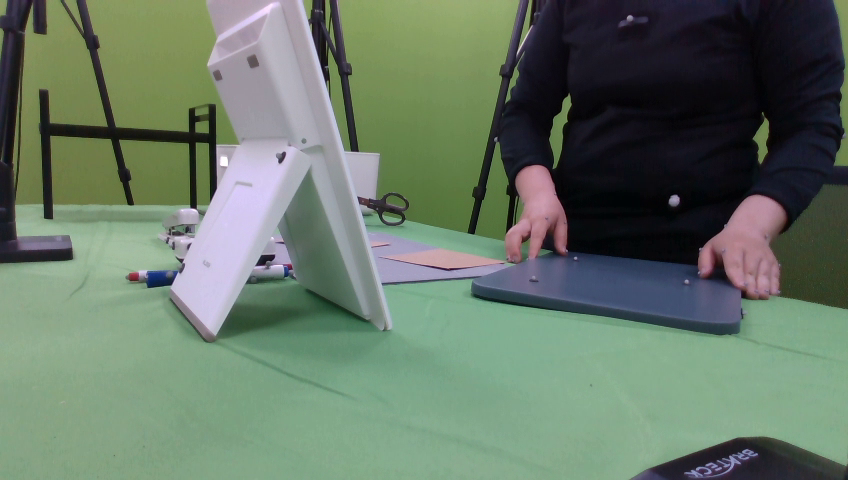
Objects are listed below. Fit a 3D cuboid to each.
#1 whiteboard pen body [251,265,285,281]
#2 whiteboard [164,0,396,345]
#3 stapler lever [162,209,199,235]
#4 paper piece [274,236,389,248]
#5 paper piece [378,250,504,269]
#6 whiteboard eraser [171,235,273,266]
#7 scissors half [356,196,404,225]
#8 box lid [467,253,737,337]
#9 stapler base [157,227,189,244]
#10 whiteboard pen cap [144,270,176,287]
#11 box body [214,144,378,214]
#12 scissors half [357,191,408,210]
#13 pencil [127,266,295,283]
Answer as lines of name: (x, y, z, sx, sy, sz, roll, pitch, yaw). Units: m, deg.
whiteboard pen body: (-0.220, 0.039, 0.656, 0.141, 0.017, 0.017, -2, 9, -31)
whiteboard: (-0.173, -0.053, 0.511, 0.144, 0.305, 0.216, -23, 19, -26)
stapler lever: (-0.376, -0.031, 0.933, 0.027, 0.040, 0.117, 0, 7, -38)
paper piece: (-0.151, 0.003, 0.978, 0.135, 0.008, 0.139, 13, 10, 35)
paper piece: (0.025, 0.027, 0.865, 0.134, 0.004, 0.136, 9, 9, 43)
whiteboard eraser: (-0.248, 0.014, 0.747, 0.113, 0.042, 0.055, -1, 10, -32)
scissors half: (-0.127, -0.072, 1.321, 0.175, 0.040, 0.013, 22, 6, -5)
box lid: (0.234, 0.055, 0.736, 0.262, 0.015, 0.373, 7, 8, 27)
stapler base: (-0.376, -0.007, 0.935, 0.041, 0.024, 0.130, 1, 5, -38)
whiteboard pen cap: (-0.271, 0.039, 0.627, 0.033, 0.018, 0.018, -3, 10, -33)
box body: (-0.328, -0.154, 1.543, 0.366, 0.160, 0.253, -2, 9, -32)
scissors half: (-0.123, -0.092, 1.318, 0.175, 0.040, 0.013, 5, 12, -3)
pencil: (-0.231, 0.037, 0.690, 0.195, 0.012, 0.012, -2, 9, -34)
